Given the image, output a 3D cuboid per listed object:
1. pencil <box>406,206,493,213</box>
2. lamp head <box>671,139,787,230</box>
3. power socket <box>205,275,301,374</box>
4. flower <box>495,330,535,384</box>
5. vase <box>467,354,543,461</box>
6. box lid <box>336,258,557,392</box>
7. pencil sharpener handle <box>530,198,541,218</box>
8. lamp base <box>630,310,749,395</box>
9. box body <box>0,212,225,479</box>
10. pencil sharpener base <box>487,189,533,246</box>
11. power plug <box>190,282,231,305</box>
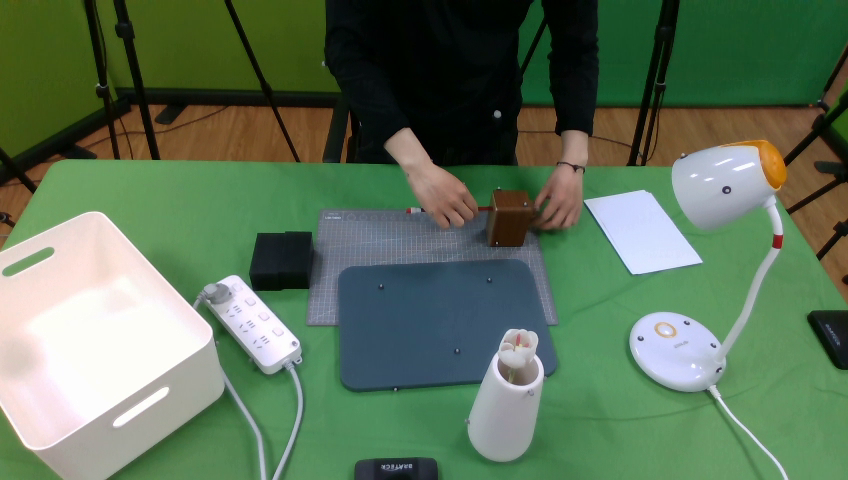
[{"bbox_3d":[0.061,-0.059,1.160,0.194,0.012,0.012,-2,47,-5],"label":"pencil"},{"bbox_3d":[0.415,-0.078,0.811,0.113,0.123,0.112,12,70,-37],"label":"lamp head"},{"bbox_3d":[-0.296,0.140,1.035,0.072,0.033,0.225,-32,57,-29],"label":"power socket"},{"bbox_3d":[0.110,0.187,0.791,0.044,0.363,0.038,-32,65,-10],"label":"flower"},{"bbox_3d":[0.116,0.234,0.861,0.098,0.201,0.097,1,47,-1],"label":"vase"},{"bbox_3d":[0.030,0.140,1.073,0.372,0.015,0.261,-3,47,-7],"label":"box lid"},{"bbox_3d":[0.220,-0.059,1.187,0.031,0.068,0.036,-1,73,-4],"label":"pencil sharpener handle"},{"bbox_3d":[0.447,0.143,0.984,0.161,0.181,0.178,-24,55,-24],"label":"lamp base"},{"bbox_3d":[-0.504,0.154,0.916,0.362,0.161,0.254,36,54,27],"label":"box body"},{"bbox_3d":[0.169,-0.043,1.189,0.077,0.107,0.061,-1,46,-4],"label":"pencil sharpener base"},{"bbox_3d":[-0.368,0.098,1.038,0.072,0.053,0.035,-26,56,-20],"label":"power plug"}]
